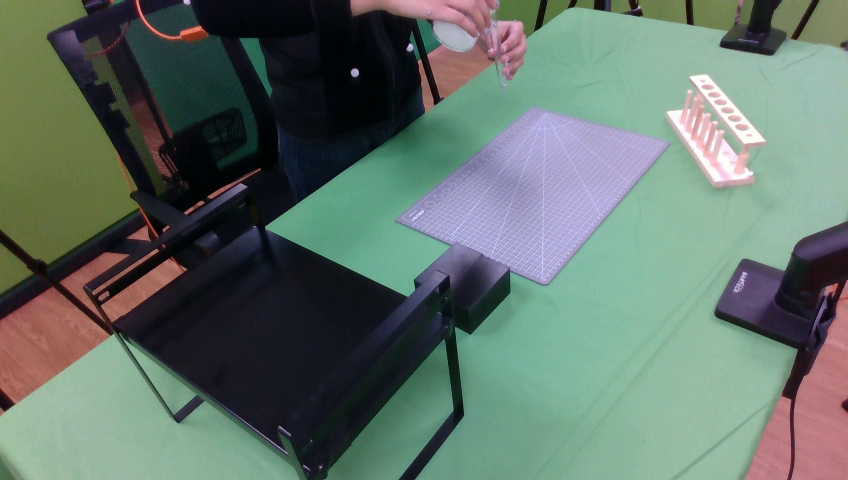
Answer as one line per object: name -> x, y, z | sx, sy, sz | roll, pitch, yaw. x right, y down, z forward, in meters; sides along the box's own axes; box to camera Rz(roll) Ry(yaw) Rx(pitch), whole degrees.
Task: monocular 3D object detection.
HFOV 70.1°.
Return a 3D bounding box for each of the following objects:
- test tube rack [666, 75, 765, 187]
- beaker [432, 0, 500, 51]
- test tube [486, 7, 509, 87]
test tube rack -> 0.512, -0.201, 1.082 | 0.067, 0.085, 0.241 | -6, 41, 2
beaker -> 0.062, -0.333, 0.879 | 0.073, 0.084, 0.100 | 18, 71, 35
test tube -> 0.121, -0.309, 0.983 | 0.017, 0.151, 0.017 | -8, 53, 11
